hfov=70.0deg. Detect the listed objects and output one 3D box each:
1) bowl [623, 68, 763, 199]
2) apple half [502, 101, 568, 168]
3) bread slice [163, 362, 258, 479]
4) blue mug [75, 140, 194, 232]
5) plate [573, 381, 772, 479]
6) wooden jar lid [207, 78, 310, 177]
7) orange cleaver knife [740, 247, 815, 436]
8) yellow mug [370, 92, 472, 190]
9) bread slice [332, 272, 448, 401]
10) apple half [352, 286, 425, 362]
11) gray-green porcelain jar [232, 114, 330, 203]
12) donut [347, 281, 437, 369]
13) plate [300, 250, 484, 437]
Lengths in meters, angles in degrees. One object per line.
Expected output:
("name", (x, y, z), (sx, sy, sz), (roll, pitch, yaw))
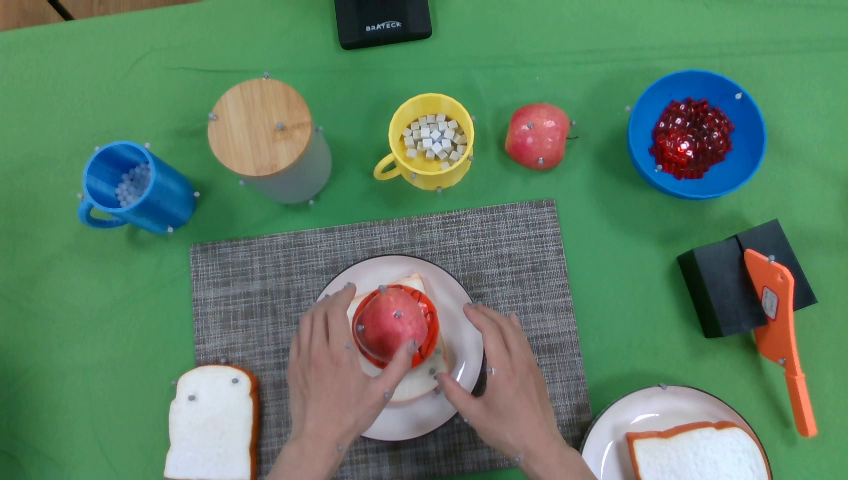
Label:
("bowl", (0.300, -0.112, 0.705), (0.151, 0.077, 0.151), (0, 80, 3))
("apple half", (0.134, -0.132, 0.729), (0.074, 0.053, 0.080), (15, 81, 8))
("bread slice", (-0.245, 0.207, 0.696), (0.105, 0.019, 0.131), (0, 81, 2))
("blue mug", (-0.343, -0.051, 0.706), (0.116, 0.106, 0.082), (-33, 79, -3))
("plate", (0.264, 0.258, 0.658), (0.209, 0.038, 0.208), (0, 80, 3))
("wooden jar lid", (-0.172, -0.116, 0.637), (0.108, 0.021, 0.108), (-1, 78, 3))
("orange cleaver knife", (0.382, 0.110, 0.659), (0.012, 0.077, 0.212), (-18, 101, -8))
("yellow mug", (-0.007, -0.109, 0.723), (0.131, 0.064, 0.099), (-31, 80, -3))
("bread slice", (-0.031, 0.114, 0.693), (0.107, 0.018, 0.134), (-23, 81, -1))
("apple half", (-0.038, 0.089, 0.634), (0.081, 0.033, 0.081), (-1, 83, 9))
("gray-green porcelain jar", (-0.169, -0.104, 0.698), (0.106, 0.127, 0.105), (0, 79, 3))
("donut", (-0.035, 0.094, 0.668), (0.099, 0.048, 0.098), (0, 77, 1))
("plate", (-0.036, 0.117, 0.693), (0.207, 0.039, 0.206), (0, 79, 3))
